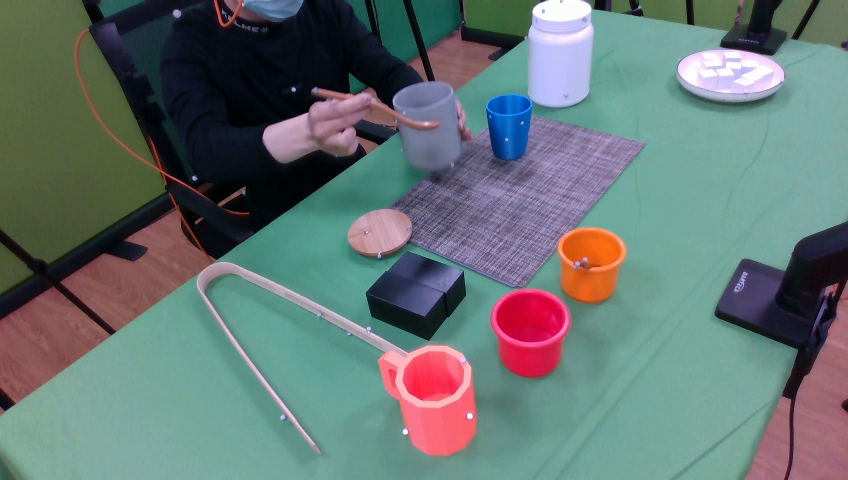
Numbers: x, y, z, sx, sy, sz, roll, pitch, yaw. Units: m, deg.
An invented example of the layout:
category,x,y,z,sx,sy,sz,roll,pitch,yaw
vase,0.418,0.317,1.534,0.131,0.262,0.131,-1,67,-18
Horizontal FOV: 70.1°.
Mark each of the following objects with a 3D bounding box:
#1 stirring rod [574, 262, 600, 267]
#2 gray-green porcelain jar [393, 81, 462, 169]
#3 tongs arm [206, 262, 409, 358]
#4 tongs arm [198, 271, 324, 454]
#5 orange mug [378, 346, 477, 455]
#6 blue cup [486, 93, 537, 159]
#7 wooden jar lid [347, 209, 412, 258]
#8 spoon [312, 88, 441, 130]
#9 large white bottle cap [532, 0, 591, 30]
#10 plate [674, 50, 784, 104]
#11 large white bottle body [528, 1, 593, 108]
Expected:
category,x,y,z,sx,sy,sz,roll,pitch,yaw
stirring rod,0.222,0.033,0.816,0.014,0.006,0.177,8,1,22
gray-green porcelain jar,0.009,-0.195,1.051,0.106,0.127,0.105,-8,37,6
tongs arm,-0.179,0.105,0.870,0.382,0.027,0.051,24,56,32
tongs arm,-0.236,0.154,0.832,0.028,0.028,0.384,-37,48,-17
orange mug,0.002,0.179,0.708,0.125,0.101,0.083,25,50,27
blue cup,0.160,-0.209,1.129,0.092,0.100,0.092,-4,39,4
wooden jar lid,-0.072,-0.010,0.997,0.108,0.021,0.108,-5,44,5
spoon,-0.065,-0.188,0.862,0.195,0.021,0.041,14,13,-25
large white bottle cap,0.274,-0.450,1.204,0.115,0.018,0.114,-4,41,4
plate,0.631,-0.336,1.262,0.207,0.039,0.206,-4,41,4
large white bottle body,0.283,-0.386,1.259,0.130,0.185,0.130,-5,41,4
